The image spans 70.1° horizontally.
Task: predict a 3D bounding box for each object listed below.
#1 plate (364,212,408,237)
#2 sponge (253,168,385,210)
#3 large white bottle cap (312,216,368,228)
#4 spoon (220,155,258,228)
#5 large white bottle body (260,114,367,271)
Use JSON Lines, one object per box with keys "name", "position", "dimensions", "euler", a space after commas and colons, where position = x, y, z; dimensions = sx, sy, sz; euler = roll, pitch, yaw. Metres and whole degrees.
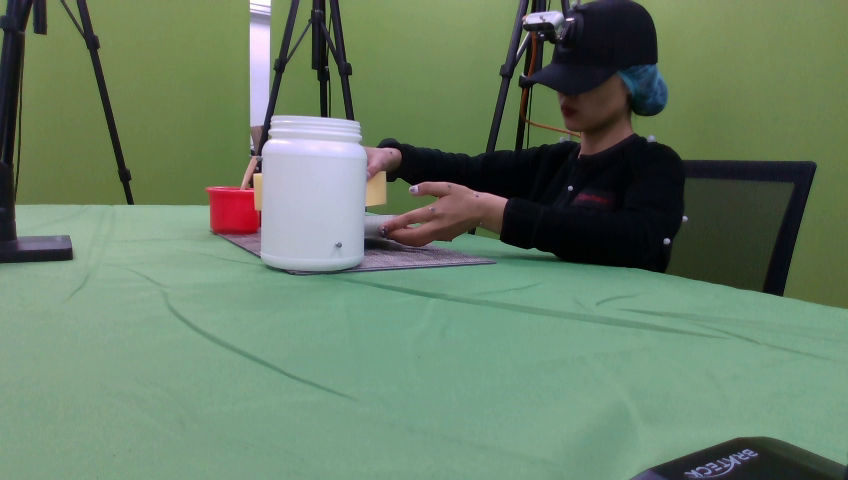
{"name": "plate", "position": [-0.128, -0.023, 0.980], "dimensions": [0.209, 0.038, 0.209], "euler": [-3, 2, 0]}
{"name": "sponge", "position": [-0.171, -0.087, 1.027], "dimensions": [0.118, 0.061, 0.208], "euler": [5, 11, 30]}
{"name": "large white bottle cap", "position": [-0.171, -0.038, 1.233], "dimensions": [0.115, 0.018, 0.115], "euler": [2, 5, 0]}
{"name": "spoon", "position": [-0.325, -0.090, 1.091], "dimensions": [0.041, 0.021, 0.193], "euler": [3, 51, 3]}
{"name": "large white bottle body", "position": [-0.139, -0.061, 0.763], "dimensions": [0.131, 0.184, 0.130], "euler": [3, 8, 0]}
